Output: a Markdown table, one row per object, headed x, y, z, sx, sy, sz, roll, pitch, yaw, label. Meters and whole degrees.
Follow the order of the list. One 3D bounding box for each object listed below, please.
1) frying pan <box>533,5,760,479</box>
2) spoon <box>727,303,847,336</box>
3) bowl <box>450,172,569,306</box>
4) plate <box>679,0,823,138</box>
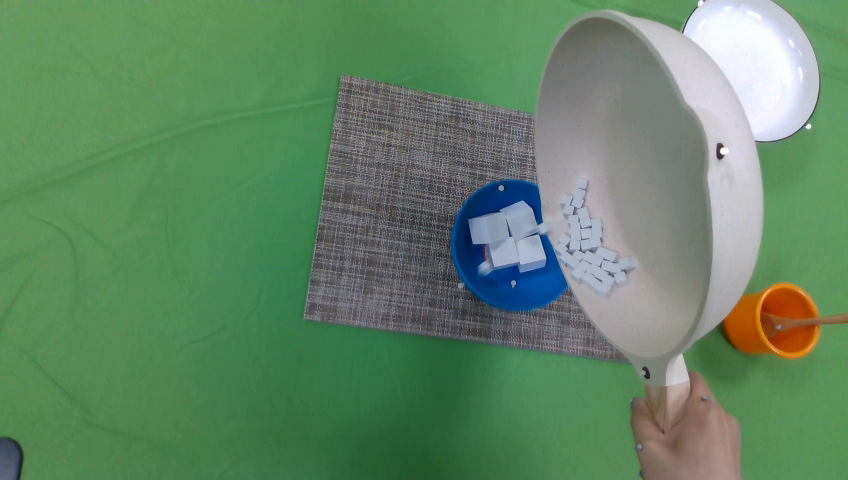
| x | y | z | sx | sy | sz | roll | pitch | yaw | label |
| --- | --- | --- | --- | --- | --- | --- | --- | --- | --- |
| 0.187 | 0.052 | 0.509 | 0.103 | 0.307 | 0.486 | -5 | 84 | -7 | frying pan |
| 0.477 | 0.090 | 0.740 | 0.022 | 0.193 | 0.041 | 6 | 75 | -56 | spoon |
| 0.096 | 0.004 | 0.705 | 0.152 | 0.077 | 0.151 | 2 | 80 | -11 | bowl |
| 0.417 | -0.230 | 0.790 | 0.208 | 0.039 | 0.207 | 2 | 82 | -11 | plate |
